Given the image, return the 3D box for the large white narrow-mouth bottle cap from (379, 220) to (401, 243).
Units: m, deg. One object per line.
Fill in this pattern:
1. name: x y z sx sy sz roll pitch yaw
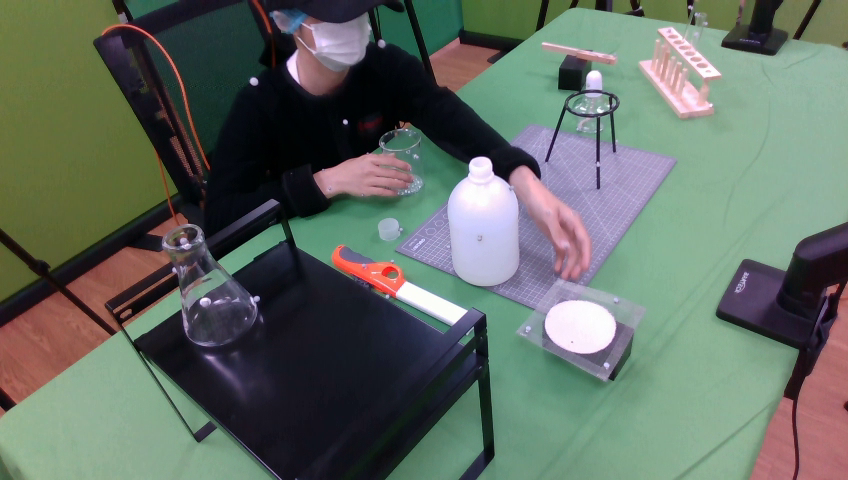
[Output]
1. large white narrow-mouth bottle cap: -0.057 -0.015 1.011 0.038 0.024 0.037 -4 40 4

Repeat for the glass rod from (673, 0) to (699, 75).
1. glass rod: 0.541 -0.427 1.246 0.008 0.200 0.008 0 48 1

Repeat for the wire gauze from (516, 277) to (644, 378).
1. wire gauze: 0.197 0.103 0.765 0.124 0.011 0.122 23 50 31

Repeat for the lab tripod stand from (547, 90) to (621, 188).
1. lab tripod stand: 0.289 -0.184 1.062 0.148 0.132 0.147 -6 41 6

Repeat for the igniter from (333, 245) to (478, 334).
1. igniter: -0.038 0.068 0.905 0.274 0.025 0.057 24 60 32

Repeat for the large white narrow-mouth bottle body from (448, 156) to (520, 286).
1. large white narrow-mouth bottle body: 0.086 -0.032 0.869 0.102 0.195 0.101 -4 40 4

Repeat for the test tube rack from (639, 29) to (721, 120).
1. test tube rack: 0.527 -0.351 1.262 0.067 0.085 0.241 -8 40 1

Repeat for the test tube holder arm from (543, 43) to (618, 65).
1. test tube holder arm: 0.345 -0.413 1.340 0.177 0.015 0.013 25 50 31

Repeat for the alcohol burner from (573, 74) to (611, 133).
1. alcohol burner: 0.330 -0.270 1.176 0.078 0.119 0.077 -4 43 4

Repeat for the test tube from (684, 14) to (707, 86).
1. test tube: 0.541 -0.379 1.216 0.017 0.151 0.017 -2 44 2

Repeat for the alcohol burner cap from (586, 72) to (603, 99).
1. alcohol burner cap: 0.325 -0.297 1.154 0.034 0.048 0.033 -8 36 6

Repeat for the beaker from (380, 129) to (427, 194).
1. beaker: -0.033 -0.142 1.095 0.073 0.101 0.084 14 44 24

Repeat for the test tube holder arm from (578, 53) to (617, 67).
1. test tube holder arm: 0.376 -0.393 1.314 0.087 0.015 0.010 26 51 32

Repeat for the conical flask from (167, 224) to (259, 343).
1. conical flask: -0.220 0.041 0.613 0.075 0.122 0.075 -5 40 4
